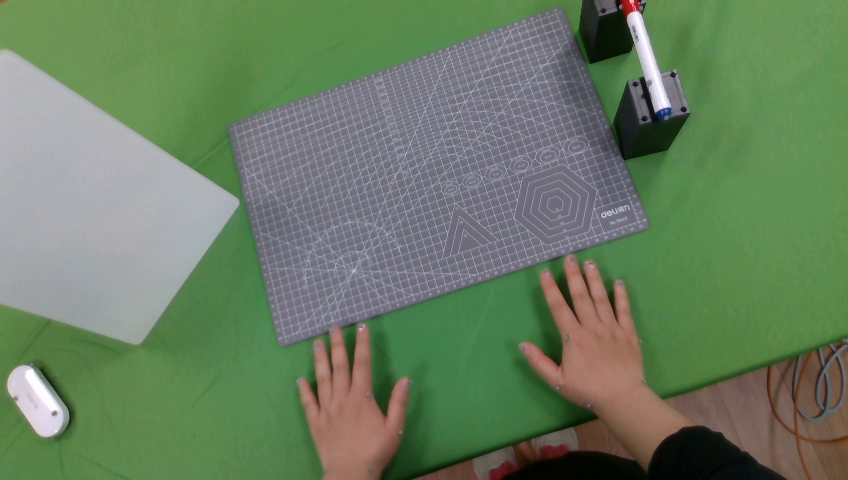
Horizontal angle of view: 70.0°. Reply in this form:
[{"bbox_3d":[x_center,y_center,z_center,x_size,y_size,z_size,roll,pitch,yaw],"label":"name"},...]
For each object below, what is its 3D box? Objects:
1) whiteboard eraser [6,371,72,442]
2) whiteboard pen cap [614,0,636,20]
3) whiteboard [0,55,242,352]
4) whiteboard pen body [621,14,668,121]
[{"bbox_3d":[-0.471,0.202,0.737,0.041,0.019,0.100,-45,76,-4],"label":"whiteboard eraser"},{"bbox_3d":[0.208,-0.243,0.628,0.017,0.017,0.032,-11,77,7],"label":"whiteboard pen cap"},{"bbox_3d":[-0.401,-0.039,0.666,0.142,0.308,0.217,30,83,34],"label":"whiteboard"},{"bbox_3d":[0.220,-0.185,0.615,0.017,0.017,0.139,-14,75,6],"label":"whiteboard pen body"}]
